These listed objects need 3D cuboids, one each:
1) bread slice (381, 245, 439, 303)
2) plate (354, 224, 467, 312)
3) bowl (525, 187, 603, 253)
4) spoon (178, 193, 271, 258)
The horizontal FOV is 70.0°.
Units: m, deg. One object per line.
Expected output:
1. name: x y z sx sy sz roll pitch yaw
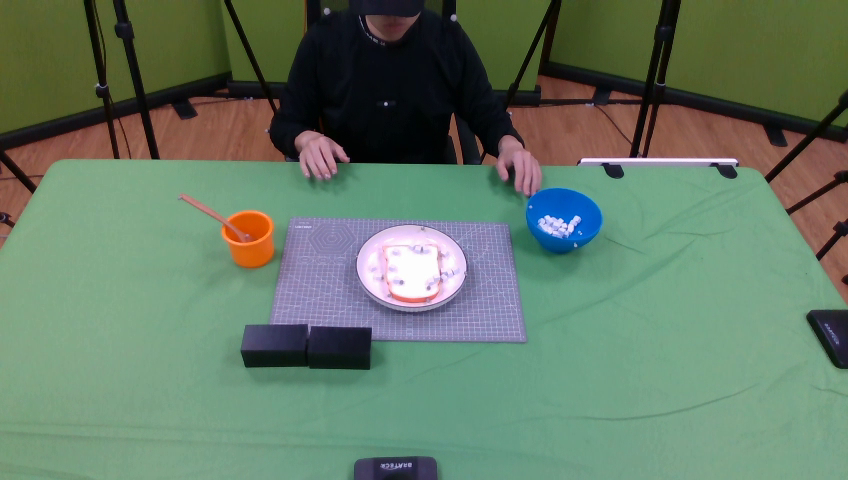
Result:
1. bread slice: -0.022 0.061 1.126 0.107 0.018 0.133 -3 45 -8
2. plate: -0.025 0.055 1.128 0.209 0.038 0.208 3 46 -3
3. bowl: 0.271 -0.028 1.206 0.151 0.077 0.150 2 46 -2
4. spoon: -0.362 -0.028 1.109 0.021 0.195 0.041 -30 32 30
